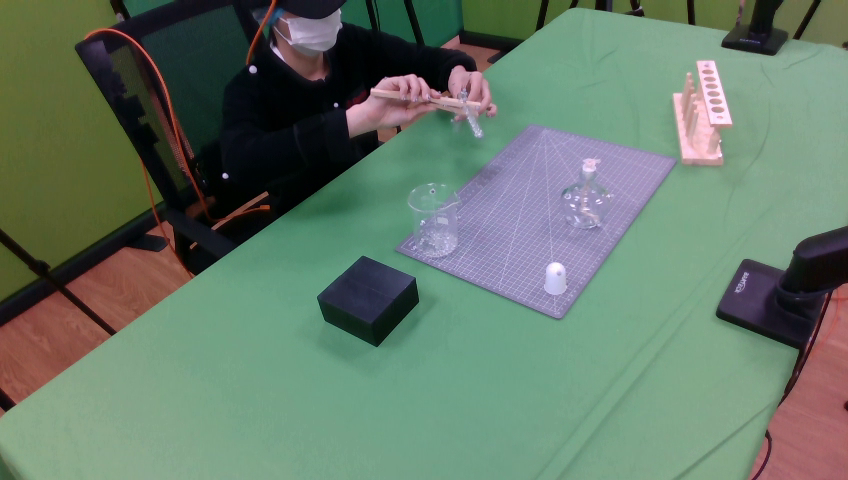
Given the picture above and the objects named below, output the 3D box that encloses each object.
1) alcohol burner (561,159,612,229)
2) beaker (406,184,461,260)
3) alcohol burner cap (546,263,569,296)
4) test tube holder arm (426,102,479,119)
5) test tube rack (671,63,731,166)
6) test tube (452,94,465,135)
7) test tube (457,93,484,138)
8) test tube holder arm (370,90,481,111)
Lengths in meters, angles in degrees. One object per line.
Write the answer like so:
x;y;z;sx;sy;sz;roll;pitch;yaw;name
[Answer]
0.257;-0.077;0.951;0.078;0.119;0.077;-3;40;3;alcohol burner
0.019;-0.026;0.939;0.084;0.101;0.074;1;41;9;beaker
0.191;0.053;0.862;0.034;0.048;0.033;-5;40;4;alcohol burner cap
0.046;-0.213;0.982;0.088;0.010;0.015;13;34;-9;test tube holder arm
0.513;-0.241;1.132;0.066;0.085;0.242;4;41;14;test tube rack
0.062;-0.225;1.097;0.017;0.150;0.017;0;78;0;test tube
0.073;-0.200;0.966;0.017;0.017;0.149;-10;37;-3;test tube
0.003;-0.225;0.974;0.179;0.013;0.015;7;34;-6;test tube holder arm
